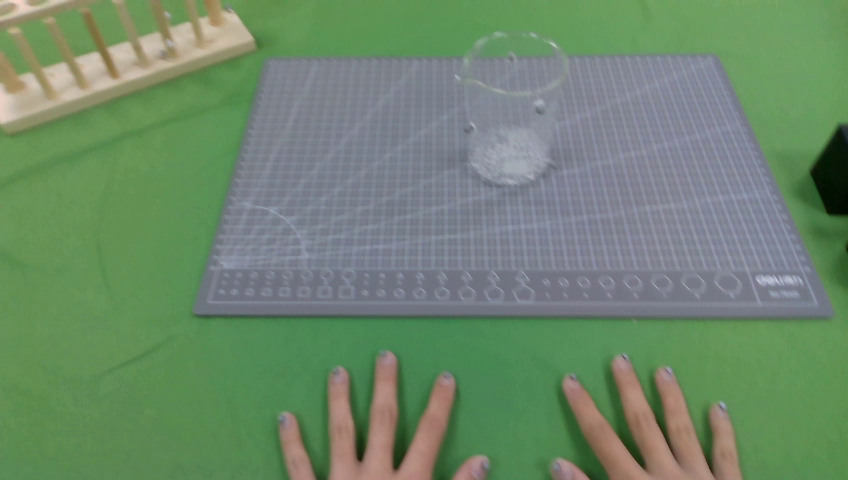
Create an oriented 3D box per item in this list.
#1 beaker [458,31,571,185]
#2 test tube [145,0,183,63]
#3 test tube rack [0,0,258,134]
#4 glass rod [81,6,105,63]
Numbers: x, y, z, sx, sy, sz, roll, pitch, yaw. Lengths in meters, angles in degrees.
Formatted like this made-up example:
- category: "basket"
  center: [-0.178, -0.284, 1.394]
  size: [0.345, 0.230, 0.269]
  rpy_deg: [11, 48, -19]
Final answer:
- category: "beaker"
  center: [0.067, -0.099, 0.478]
  size: [0.084, 0.101, 0.073]
  rpy_deg: [-14, 53, -8]
- category: "test tube"
  center: [-0.245, -0.227, 0.539]
  size: [0.017, 0.151, 0.017]
  rpy_deg: [0, 50, 0]
- category: "test tube rack"
  center: [-0.292, -0.193, 0.571]
  size: [0.242, 0.086, 0.066]
  rpy_deg: [-25, 55, -17]
- category: "glass rod"
  center: [-0.316, -0.247, 0.530]
  size: [0.008, 0.201, 0.008]
  rpy_deg: [0, 45, 0]
